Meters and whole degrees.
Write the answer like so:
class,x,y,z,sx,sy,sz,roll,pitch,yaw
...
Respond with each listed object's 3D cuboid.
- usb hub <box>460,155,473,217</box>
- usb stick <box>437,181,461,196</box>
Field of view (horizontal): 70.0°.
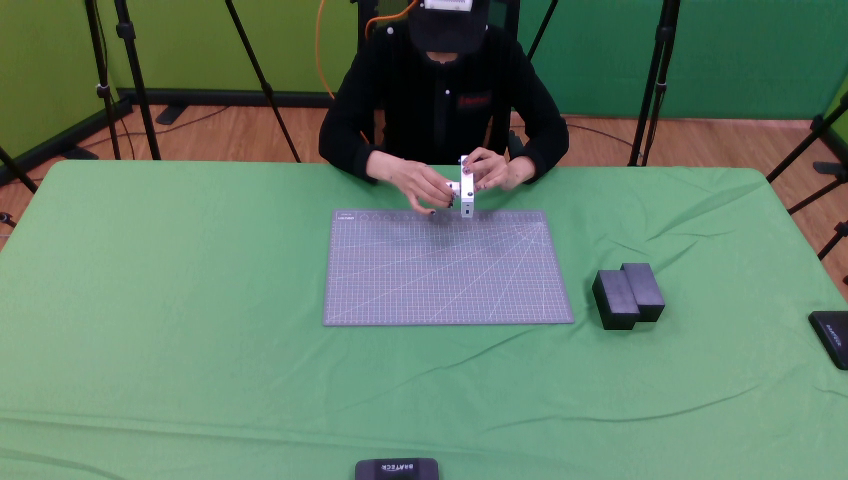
class,x,y,z,sx,sy,sz,roll,pitch,yaw
usb hub,0.084,-0.108,1.193,0.025,0.050,0.124,0,52,2
usb stick,0.055,-0.102,1.193,0.059,0.027,0.021,3,57,-2
